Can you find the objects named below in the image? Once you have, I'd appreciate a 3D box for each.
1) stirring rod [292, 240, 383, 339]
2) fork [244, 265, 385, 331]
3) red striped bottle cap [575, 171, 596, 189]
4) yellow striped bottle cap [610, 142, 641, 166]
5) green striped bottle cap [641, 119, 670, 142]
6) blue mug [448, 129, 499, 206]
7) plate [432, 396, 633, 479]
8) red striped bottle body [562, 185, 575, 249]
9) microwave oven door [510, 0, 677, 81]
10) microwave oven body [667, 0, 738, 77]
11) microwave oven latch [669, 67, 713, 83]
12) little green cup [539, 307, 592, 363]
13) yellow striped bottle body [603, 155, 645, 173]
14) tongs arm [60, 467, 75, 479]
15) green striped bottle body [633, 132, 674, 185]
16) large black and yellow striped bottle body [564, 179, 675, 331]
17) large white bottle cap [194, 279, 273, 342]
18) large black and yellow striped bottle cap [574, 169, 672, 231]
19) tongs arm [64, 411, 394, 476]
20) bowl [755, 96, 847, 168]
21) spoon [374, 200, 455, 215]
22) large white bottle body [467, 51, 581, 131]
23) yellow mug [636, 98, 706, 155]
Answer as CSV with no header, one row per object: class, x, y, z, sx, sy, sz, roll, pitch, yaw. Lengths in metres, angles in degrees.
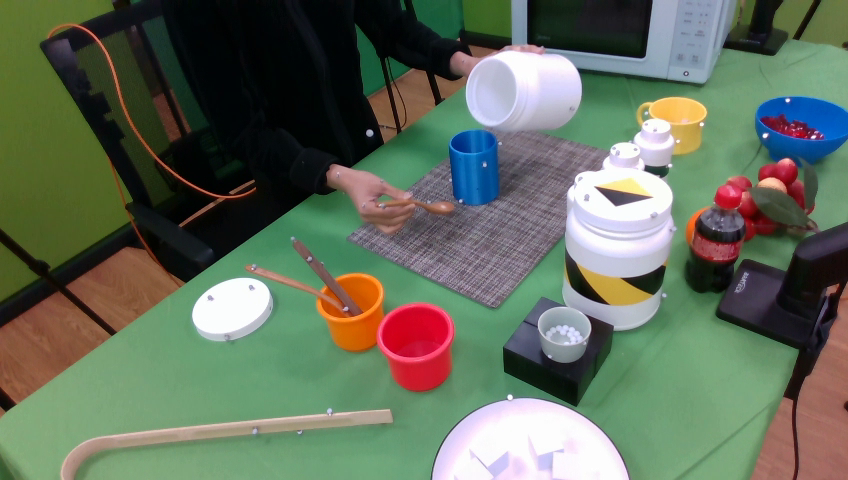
stirring rod,-0.118,0.068,0.826,0.176,0.006,0.014,48,59,-4
fork,-0.142,0.078,0.806,0.209,0.018,0.028,30,32,-23
red striped bottle cap,0.242,-0.081,0.876,0.044,0.018,0.044,-5,43,5
yellow striped bottle cap,0.309,-0.131,0.925,0.044,0.019,0.044,-4,45,5
green striped bottle cap,0.371,-0.175,0.968,0.044,0.020,0.044,-4,42,5
blue mug,0.090,-0.135,1.051,0.082,0.106,0.116,3,42,13
plate,0.112,0.261,0.634,0.209,0.038,0.208,-5,40,4
red striped bottle body,0.246,-0.040,0.910,0.063,0.120,0.063,0,38,0
microwave oven door,0.354,-0.478,1.290,0.353,0.245,0.039,15,45,25
microwave oven body,0.462,-0.552,1.369,0.439,0.261,0.326,15,45,26
microwave oven latch,0.556,-0.349,1.261,0.078,0.029,0.030,16,46,27
little green cup,0.167,0.114,0.721,0.061,0.039,0.061,-4,43,4
yellow striped bottle body,0.314,-0.090,0.957,0.063,0.121,0.062,-4,40,4
tongs arm,-0.239,0.301,0.649,0.386,0.028,0.028,6,49,16
green striped bottle body,0.376,-0.135,1.001,0.063,0.120,0.063,-5,40,5
large black and yellow striped bottle body,0.253,0.014,0.793,0.131,0.185,0.130,-5,40,4
large white bottle cap,-0.284,0.103,0.902,0.115,0.018,0.114,-4,40,4
large black and yellow striped bottle cap,0.242,-0.051,0.738,0.115,0.019,0.114,-4,37,3
tongs arm,-0.228,0.241,0.715,0.385,0.026,0.050,-5,44,4
bowl,0.645,-0.177,1.041,0.151,0.077,0.150,-5,40,4
spoon,-0.014,-0.053,0.937,0.041,0.021,0.195,22,11,34
large white bottle body,0.170,-0.252,1.033,0.129,0.130,0.186,29,27,36
yellow mug,0.453,-0.217,1.128,0.100,0.064,0.129,-34,46,-27
